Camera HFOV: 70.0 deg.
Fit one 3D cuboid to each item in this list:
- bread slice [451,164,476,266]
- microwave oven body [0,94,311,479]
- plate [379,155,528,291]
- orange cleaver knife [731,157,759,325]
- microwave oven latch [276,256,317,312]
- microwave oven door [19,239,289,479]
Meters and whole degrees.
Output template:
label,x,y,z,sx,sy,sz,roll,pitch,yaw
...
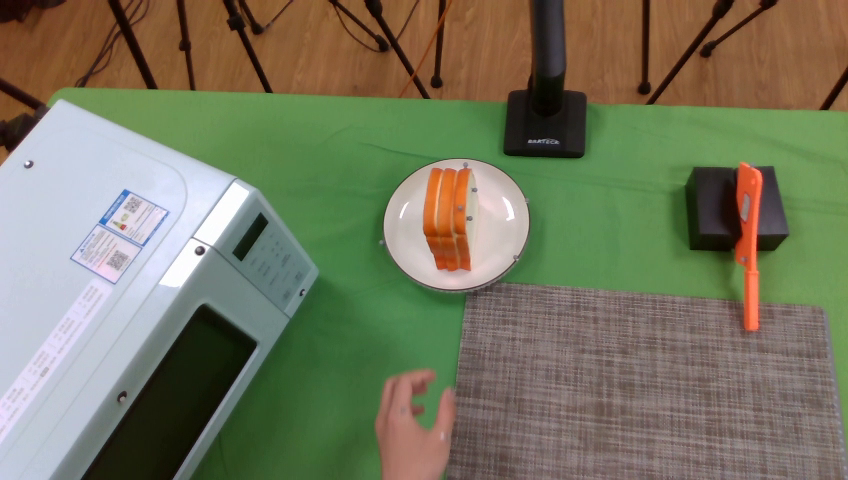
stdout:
label,x,y,z,sx,sy,sz,roll,pitch,yaw
bread slice,0.053,-0.035,0.796,0.018,0.135,0.106,1,69,11
microwave oven body,-0.402,0.105,0.727,0.324,0.262,0.440,24,72,17
plate,0.042,-0.022,0.853,0.207,0.039,0.206,-3,66,6
orange cleaver knife,0.404,0.000,0.766,0.012,0.077,0.211,-1,95,7
microwave oven latch,-0.177,0.056,0.826,0.030,0.030,0.079,25,72,17
microwave oven door,-0.295,0.193,0.667,0.039,0.246,0.354,23,71,18
